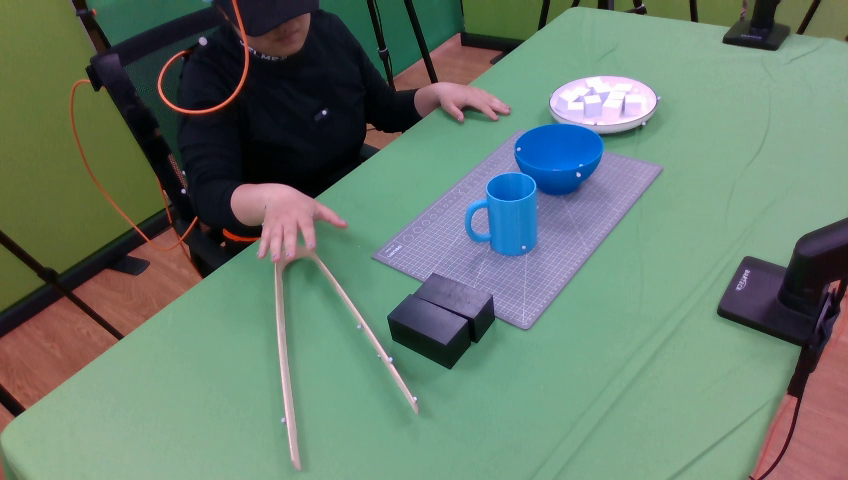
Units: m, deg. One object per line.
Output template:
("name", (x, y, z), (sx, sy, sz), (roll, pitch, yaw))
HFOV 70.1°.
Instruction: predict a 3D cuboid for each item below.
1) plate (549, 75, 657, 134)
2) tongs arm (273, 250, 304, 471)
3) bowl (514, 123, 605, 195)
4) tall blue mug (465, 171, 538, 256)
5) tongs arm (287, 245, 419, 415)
("plate", (0.357, -0.269, 1.220), (0.209, 0.038, 0.208), (-5, 41, 5))
("tongs arm", (-0.188, 0.145, 0.845), (0.028, 0.028, 0.384), (-22, 41, 0))
("bowl", (0.232, -0.131, 1.045), (0.151, 0.077, 0.150), (-5, 40, 5))
("tall blue mug", (0.125, -0.033, 0.925), (0.107, 0.108, 0.077), (-32, 46, -25))
("tongs arm", (-0.114, 0.113, 0.859), (0.051, 0.027, 0.381), (-28, 43, -12))
